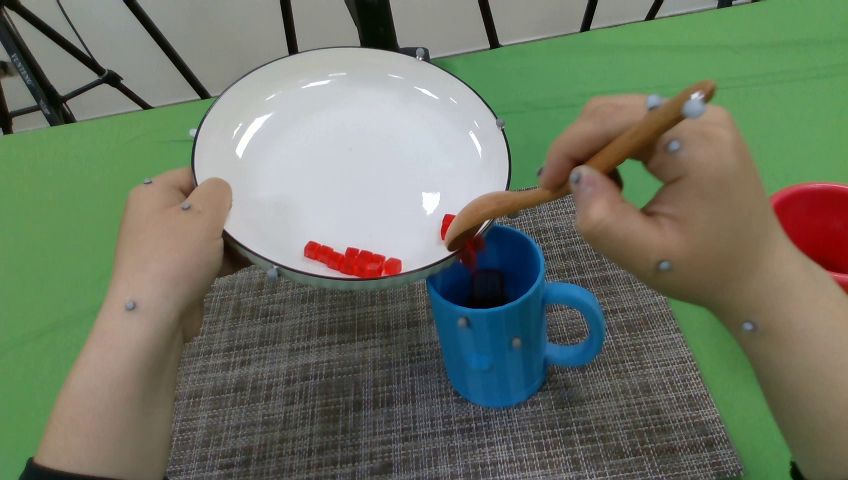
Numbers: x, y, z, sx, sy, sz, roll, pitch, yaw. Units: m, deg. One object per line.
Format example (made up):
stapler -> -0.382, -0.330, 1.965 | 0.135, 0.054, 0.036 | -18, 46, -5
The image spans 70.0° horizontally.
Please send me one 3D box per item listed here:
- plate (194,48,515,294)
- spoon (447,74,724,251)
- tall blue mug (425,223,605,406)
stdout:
plate -> -0.044, -0.050, 0.412 | 0.208, 0.039, 0.205 | 3, 55, -4
spoon -> 0.059, -0.026, 0.277 | 0.041, 0.193, 0.021 | -36, 95, -27
tall blue mug -> 0.061, 0.050, 0.417 | 0.107, 0.109, 0.077 | -14, 43, -2
